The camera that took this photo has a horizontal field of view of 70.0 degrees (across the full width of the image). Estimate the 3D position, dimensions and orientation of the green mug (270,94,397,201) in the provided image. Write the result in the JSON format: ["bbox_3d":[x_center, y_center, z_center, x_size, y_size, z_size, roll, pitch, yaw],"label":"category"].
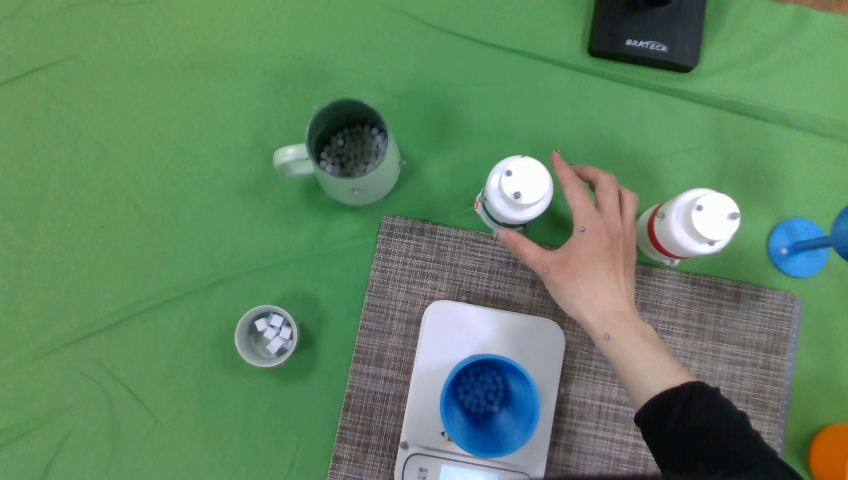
[{"bbox_3d":[-0.091,-0.088,0.608,0.125,0.105,0.092,-11,84,-1],"label":"green mug"}]

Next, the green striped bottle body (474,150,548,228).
[{"bbox_3d":[0.085,-0.050,0.599,0.063,0.119,0.063,0,83,-1],"label":"green striped bottle body"}]

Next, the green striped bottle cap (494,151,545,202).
[{"bbox_3d":[0.086,-0.057,0.543,0.044,0.020,0.044,0,83,1],"label":"green striped bottle cap"}]

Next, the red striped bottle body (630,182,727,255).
[{"bbox_3d":[0.254,-0.020,0.598,0.063,0.120,0.063,0,84,0],"label":"red striped bottle body"}]

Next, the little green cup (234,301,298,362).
[{"bbox_3d":[-0.158,0.093,0.621,0.061,0.038,0.061,0,84,-2],"label":"little green cup"}]

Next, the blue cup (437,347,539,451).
[{"bbox_3d":[0.053,0.136,0.554,0.092,0.100,0.092,0,87,0],"label":"blue cup"}]

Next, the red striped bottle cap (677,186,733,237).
[{"bbox_3d":[0.253,-0.026,0.545,0.044,0.018,0.044,0,81,-1],"label":"red striped bottle cap"}]

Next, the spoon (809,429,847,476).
[{"bbox_3d":[0.463,0.235,0.561,0.022,0.192,0.041,25,91,-41],"label":"spoon"}]

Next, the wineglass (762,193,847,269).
[{"bbox_3d":[0.399,-0.010,0.572,0.074,0.172,0.073,0,83,0],"label":"wineglass"}]

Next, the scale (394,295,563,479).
[{"bbox_3d":[0.056,0.163,0.617,0.149,0.031,0.200,10,85,0],"label":"scale"}]
